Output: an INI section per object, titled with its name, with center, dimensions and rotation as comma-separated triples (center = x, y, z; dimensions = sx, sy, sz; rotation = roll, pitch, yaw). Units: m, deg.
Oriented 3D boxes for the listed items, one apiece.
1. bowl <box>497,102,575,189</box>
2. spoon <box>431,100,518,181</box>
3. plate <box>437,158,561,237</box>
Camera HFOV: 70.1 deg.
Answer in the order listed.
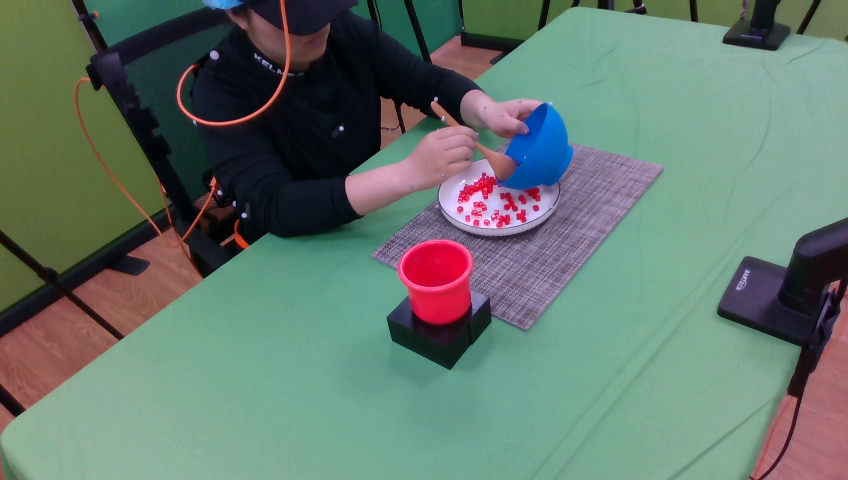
[bowl]
center = 0.190, -0.138, 0.978
dimensions = 0.077, 0.151, 0.151
rotation = 28, 43, -10
[spoon]
center = 0.081, -0.156, 0.961
dimensions = 0.041, 0.195, 0.021
rotation = -55, 21, -4
[plate]
center = 0.127, -0.069, 1.023
dimensions = 0.207, 0.039, 0.206
rotation = -5, 40, 5
